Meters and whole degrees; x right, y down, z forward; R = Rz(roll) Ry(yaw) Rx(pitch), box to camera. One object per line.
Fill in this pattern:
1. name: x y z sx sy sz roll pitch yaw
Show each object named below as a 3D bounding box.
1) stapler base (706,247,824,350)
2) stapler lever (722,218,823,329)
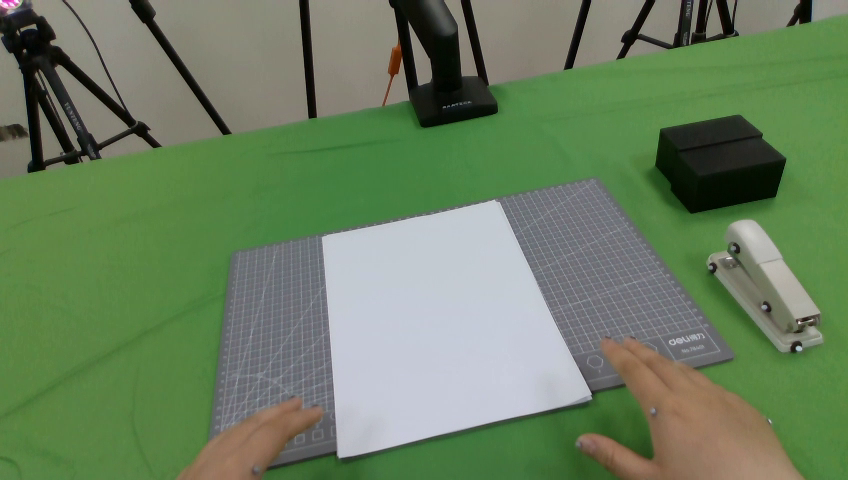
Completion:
1. stapler base: 0.311 0.043 0.559 0.041 0.025 0.129 -14 41 -3
2. stapler lever: 0.309 0.025 0.541 0.027 0.040 0.116 -14 41 -3
